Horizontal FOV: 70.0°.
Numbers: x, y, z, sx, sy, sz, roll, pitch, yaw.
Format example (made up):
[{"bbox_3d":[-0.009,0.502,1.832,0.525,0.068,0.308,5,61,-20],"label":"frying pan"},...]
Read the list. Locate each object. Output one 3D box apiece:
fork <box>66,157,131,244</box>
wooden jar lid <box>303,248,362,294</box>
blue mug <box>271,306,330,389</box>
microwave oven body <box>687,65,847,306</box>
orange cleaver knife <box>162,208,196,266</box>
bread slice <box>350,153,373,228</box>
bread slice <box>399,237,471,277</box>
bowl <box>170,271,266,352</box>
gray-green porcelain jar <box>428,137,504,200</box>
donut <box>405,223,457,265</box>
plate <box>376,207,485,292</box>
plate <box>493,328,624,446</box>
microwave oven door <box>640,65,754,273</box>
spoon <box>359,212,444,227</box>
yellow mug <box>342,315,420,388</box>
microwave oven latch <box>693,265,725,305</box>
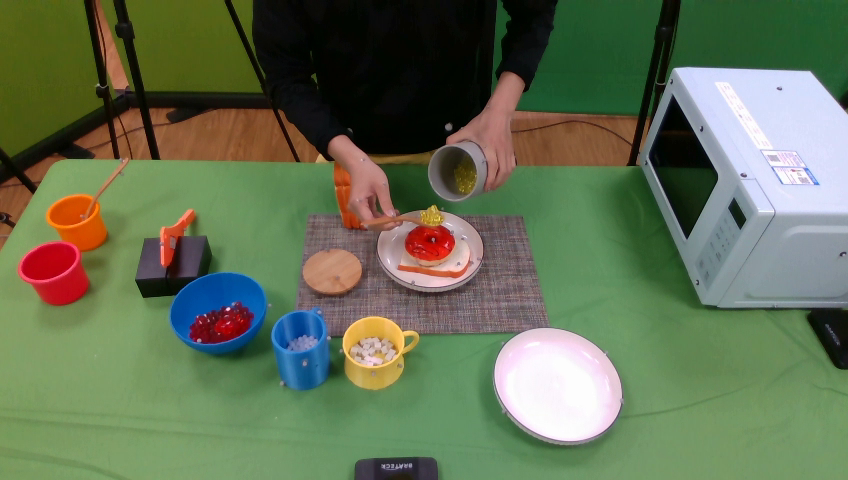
[{"bbox_3d":[-0.608,-0.074,1.132,0.207,0.019,0.028,-52,49,10],"label":"fork"},{"bbox_3d":[-0.169,0.059,1.122,0.108,0.021,0.107,2,45,-2],"label":"wooden jar lid"},{"bbox_3d":[-0.188,0.163,0.969,0.082,0.106,0.116,15,47,10],"label":"blue mug"},{"bbox_3d":[0.669,-0.111,1.176,0.326,0.261,0.439,0,46,-3],"label":"microwave oven body"},{"bbox_3d":[-0.454,-0.010,1.129,0.012,0.077,0.210,-1,17,-6],"label":"orange cleaver knife"},{"bbox_3d":[-0.124,-0.104,1.207,0.018,0.135,0.106,-1,48,7],"label":"bread slice"},{"bbox_3d":[0.026,0.024,1.160,0.131,0.019,0.104,8,47,7],"label":"bread slice"},{"bbox_3d":[-0.333,0.132,1.006,0.151,0.077,0.150,2,46,-2],"label":"bowl"},{"bbox_3d":[0.084,-0.137,1.136,0.105,0.106,0.126,29,27,22],"label":"gray-green porcelain jar"},{"bbox_3d":[0.013,0.004,1.136,0.099,0.048,0.098,0,46,0],"label":"donut"},{"bbox_3d":[0.012,0.021,1.159,0.209,0.038,0.208,2,47,-2],"label":"plate"},{"bbox_3d":[0.213,0.236,0.974,0.208,0.039,0.206,2,46,-2],"label":"plate"},{"bbox_3d":[0.522,-0.147,1.193,0.039,0.245,0.353,0,47,-3],"label":"microwave oven door"},{"bbox_3d":[-0.036,-0.035,1.032,0.194,0.022,0.041,-2,35,-49],"label":"spoon"},{"bbox_3d":[-0.068,0.177,0.990,0.131,0.064,0.099,-15,50,-19],"label":"yellow mug"},{"bbox_3d":[0.522,0.081,1.115,0.030,0.029,0.078,2,46,-1],"label":"microwave oven latch"}]
